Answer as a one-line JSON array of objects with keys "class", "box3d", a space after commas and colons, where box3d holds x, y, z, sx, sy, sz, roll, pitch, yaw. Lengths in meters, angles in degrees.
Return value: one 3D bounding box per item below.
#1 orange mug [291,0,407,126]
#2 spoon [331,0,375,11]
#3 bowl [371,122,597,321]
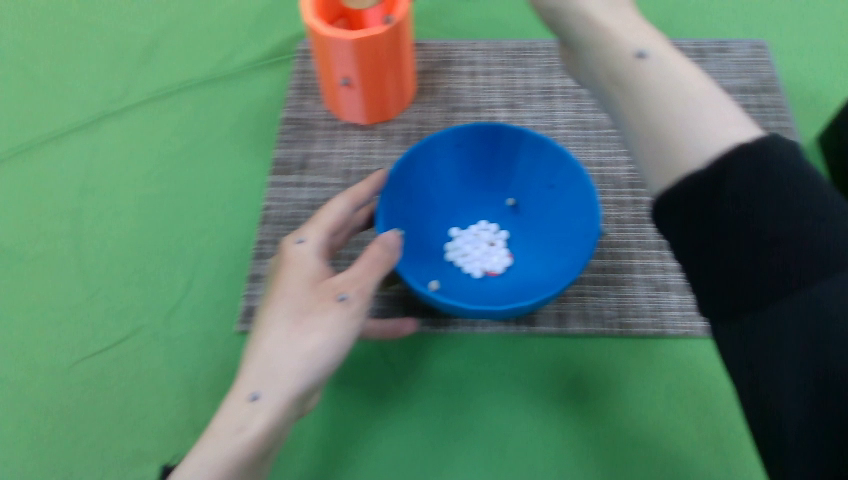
[{"class": "orange mug", "box3d": [-0.056, -0.178, 0.527, 0.083, 0.101, 0.125, 11, 66, 8]}, {"class": "spoon", "box3d": [0.001, -0.198, 0.390, 0.022, 0.193, 0.041, -19, 97, -44]}, {"class": "bowl", "box3d": [0.040, -0.002, 0.434, 0.151, 0.077, 0.150, 0, 60, 1]}]
